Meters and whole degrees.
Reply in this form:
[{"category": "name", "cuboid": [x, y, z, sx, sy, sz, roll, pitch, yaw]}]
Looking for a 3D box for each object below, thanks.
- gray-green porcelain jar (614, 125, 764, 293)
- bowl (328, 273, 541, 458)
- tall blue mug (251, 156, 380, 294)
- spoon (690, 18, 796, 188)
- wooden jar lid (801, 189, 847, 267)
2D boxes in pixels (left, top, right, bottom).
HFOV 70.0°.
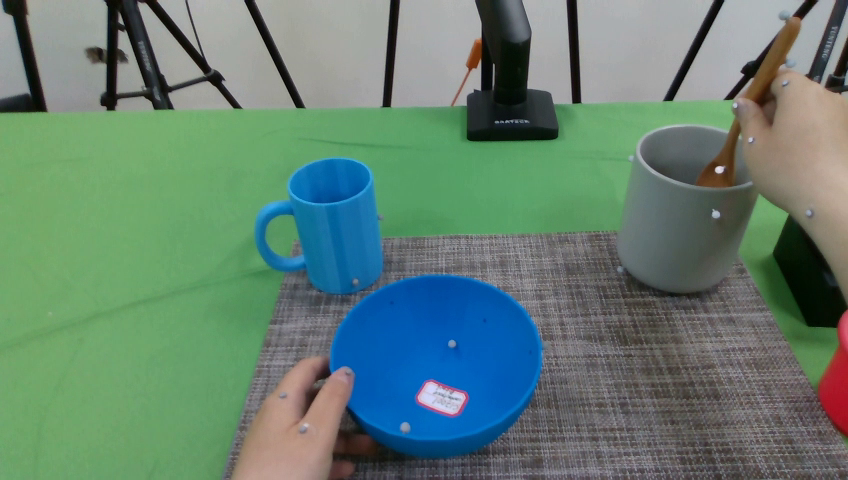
[{"category": "gray-green porcelain jar", "cuboid": [0.232, -0.024, 0.550, 0.106, 0.127, 0.105, -2, 40, 2]}, {"category": "bowl", "cuboid": [0.009, 0.103, 0.450, 0.151, 0.077, 0.150, -1, 40, 2]}, {"category": "tall blue mug", "cuboid": [-0.095, -0.006, 0.562, 0.107, 0.109, 0.077, -33, 49, -30]}, {"category": "spoon", "cuboid": [0.243, -0.085, 0.471, 0.021, 0.195, 0.041, -12, 55, -1]}, {"category": "wooden jar lid", "cuboid": [0.389, -0.006, 0.530, 0.108, 0.021, 0.107, -2, 40, 2]}]
